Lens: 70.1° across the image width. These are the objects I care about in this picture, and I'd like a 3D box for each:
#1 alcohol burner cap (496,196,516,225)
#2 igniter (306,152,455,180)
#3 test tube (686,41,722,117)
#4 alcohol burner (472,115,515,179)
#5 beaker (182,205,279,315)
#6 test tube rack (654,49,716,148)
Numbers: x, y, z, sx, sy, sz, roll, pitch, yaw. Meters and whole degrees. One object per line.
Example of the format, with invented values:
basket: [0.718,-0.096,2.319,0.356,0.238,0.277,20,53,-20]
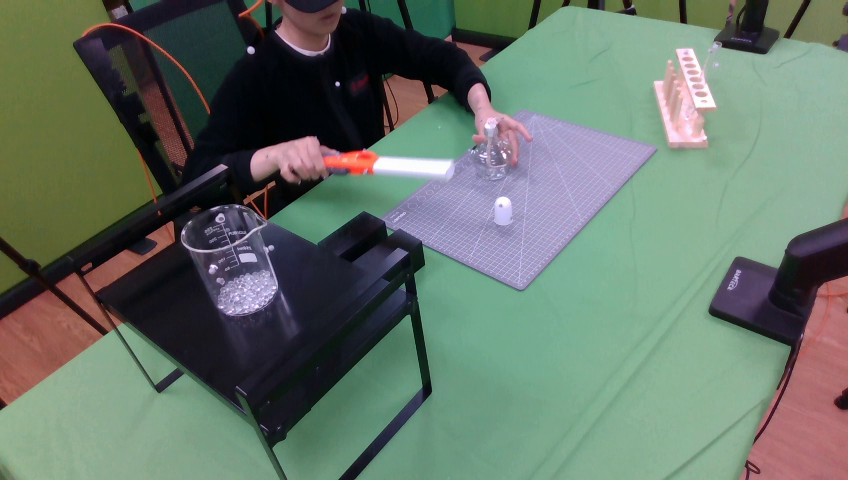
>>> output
alcohol burner cap: [0.134,-0.051,0.995,0.034,0.048,0.033,-5,42,5]
igniter: [-0.078,-0.116,0.939,0.274,0.025,0.057,8,43,30]
test tube: [0.510,-0.290,1.105,0.017,0.150,0.017,2,44,-1]
alcohol burner: [0.123,-0.169,1.079,0.078,0.119,0.077,-6,41,6]
beaker: [-0.197,0.024,0.641,0.084,0.101,0.073,-12,41,-6]
test tube rack: [0.502,-0.281,1.176,0.066,0.085,0.241,2,41,11]
